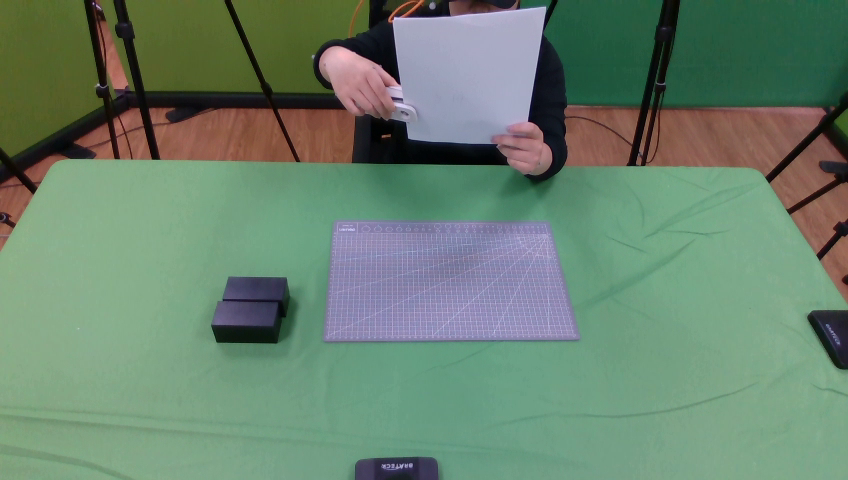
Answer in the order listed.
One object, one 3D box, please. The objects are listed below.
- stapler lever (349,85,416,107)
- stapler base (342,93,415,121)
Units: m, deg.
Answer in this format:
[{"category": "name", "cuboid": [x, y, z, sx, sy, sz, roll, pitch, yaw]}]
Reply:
[{"category": "stapler lever", "cuboid": [-0.069, -0.249, 1.036, 0.118, 0.027, 0.040, 19, 76, 19]}, {"category": "stapler base", "cuboid": [-0.074, -0.231, 1.032, 0.130, 0.041, 0.024, 13, 73, 17]}]
